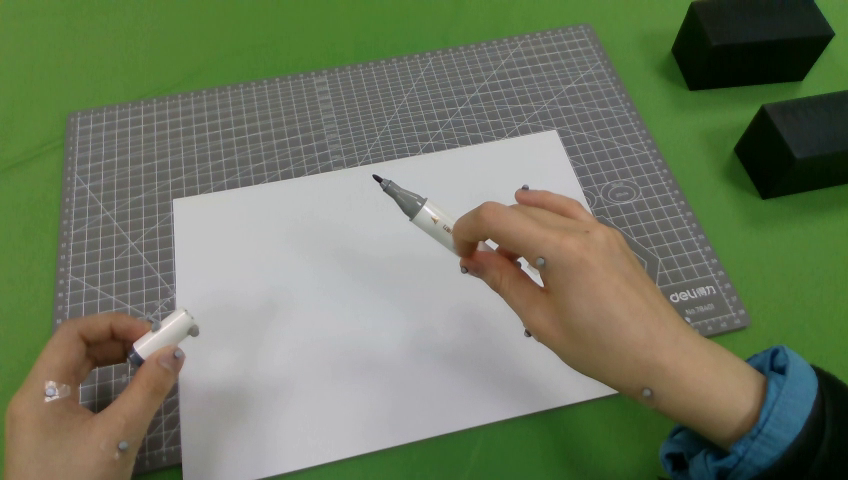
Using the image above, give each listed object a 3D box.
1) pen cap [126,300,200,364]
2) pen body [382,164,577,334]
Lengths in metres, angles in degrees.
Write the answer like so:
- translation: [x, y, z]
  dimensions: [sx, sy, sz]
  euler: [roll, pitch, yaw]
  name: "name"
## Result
- translation: [-0.142, 0.051, 0.331]
  dimensions: [0.038, 0.017, 0.017]
  euler: [-40, 67, -22]
  name: "pen cap"
- translation: [0.032, 0.004, 0.347]
  dimensions: [0.144, 0.017, 0.017]
  euler: [40, 66, -7]
  name: "pen body"
